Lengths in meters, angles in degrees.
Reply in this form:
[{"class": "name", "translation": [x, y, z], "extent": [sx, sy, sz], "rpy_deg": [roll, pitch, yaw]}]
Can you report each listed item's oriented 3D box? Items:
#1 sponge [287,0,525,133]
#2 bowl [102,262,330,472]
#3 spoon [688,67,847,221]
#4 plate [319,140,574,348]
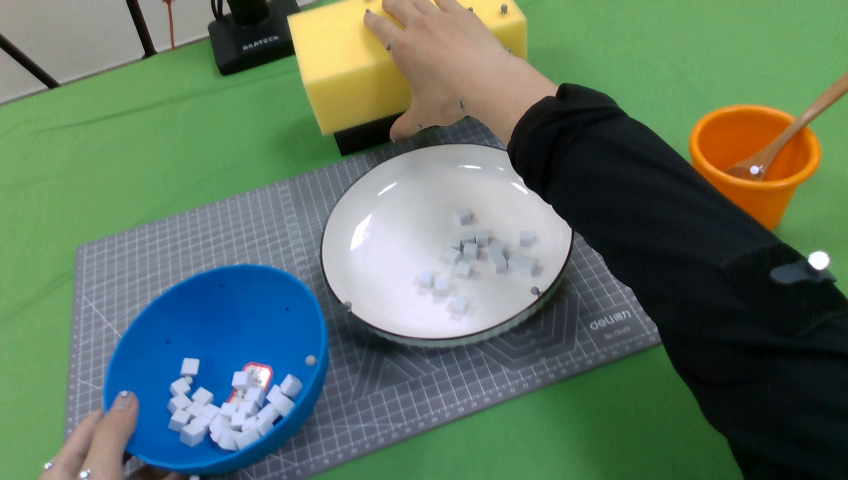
[{"class": "sponge", "translation": [-0.018, -0.189, 0.586], "extent": [0.207, 0.061, 0.117], "rpy_deg": [-18, 52, -5]}, {"class": "bowl", "translation": [-0.132, 0.098, 0.429], "extent": [0.151, 0.077, 0.150], "rpy_deg": [-5, 51, 6]}, {"class": "spoon", "translation": [0.282, -0.086, 0.458], "extent": [0.022, 0.194, 0.041], "rpy_deg": [9, 41, -43]}, {"class": "plate", "translation": [0.018, 0.001, 0.504], "extent": [0.209, 0.038, 0.207], "rpy_deg": [-5, 52, 7]}]
